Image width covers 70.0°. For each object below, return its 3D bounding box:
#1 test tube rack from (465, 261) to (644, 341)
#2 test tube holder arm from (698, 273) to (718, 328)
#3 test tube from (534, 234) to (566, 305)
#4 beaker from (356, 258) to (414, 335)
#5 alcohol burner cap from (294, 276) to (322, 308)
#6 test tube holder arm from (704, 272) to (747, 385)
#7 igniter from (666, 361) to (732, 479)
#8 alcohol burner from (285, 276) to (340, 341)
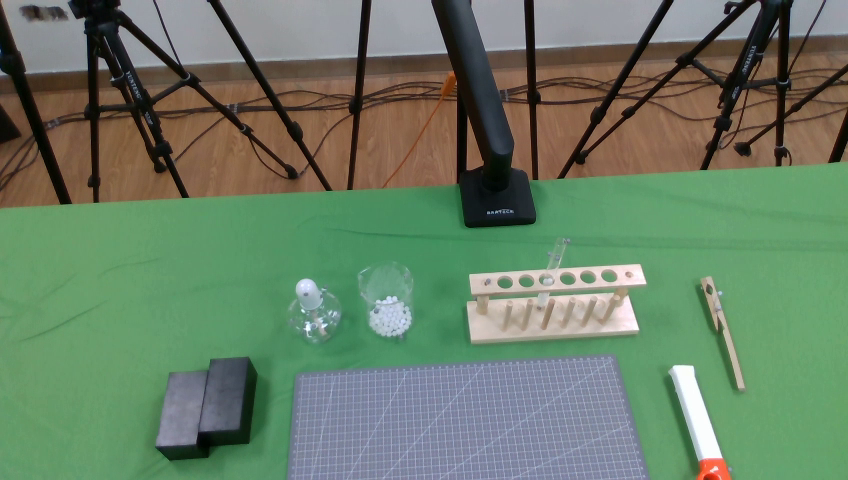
[{"bbox_3d":[0.184,0.088,0.864,0.242,0.086,0.066,-4,53,-2],"label":"test tube rack"},{"bbox_3d":[0.426,0.090,0.902,0.010,0.015,0.087,-23,49,27],"label":"test tube holder arm"},{"bbox_3d":[0.172,0.044,0.835,0.017,0.151,0.017,2,51,-2],"label":"test tube"},{"bbox_3d":[-0.055,0.083,0.861,0.083,0.101,0.073,20,55,16],"label":"beaker"},{"bbox_3d":[-0.158,0.068,0.819,0.034,0.048,0.033,-1,59,3],"label":"alcohol burner cap"},{"bbox_3d":[0.432,0.124,0.873,0.013,0.015,0.176,-24,48,26],"label":"test tube holder arm"},{"bbox_3d":[0.357,0.279,0.754,0.057,0.025,0.273,3,52,-9],"label":"igniter"},{"bbox_3d":[-0.159,0.090,0.848,0.078,0.120,0.077,-1,51,1],"label":"alcohol burner"}]
